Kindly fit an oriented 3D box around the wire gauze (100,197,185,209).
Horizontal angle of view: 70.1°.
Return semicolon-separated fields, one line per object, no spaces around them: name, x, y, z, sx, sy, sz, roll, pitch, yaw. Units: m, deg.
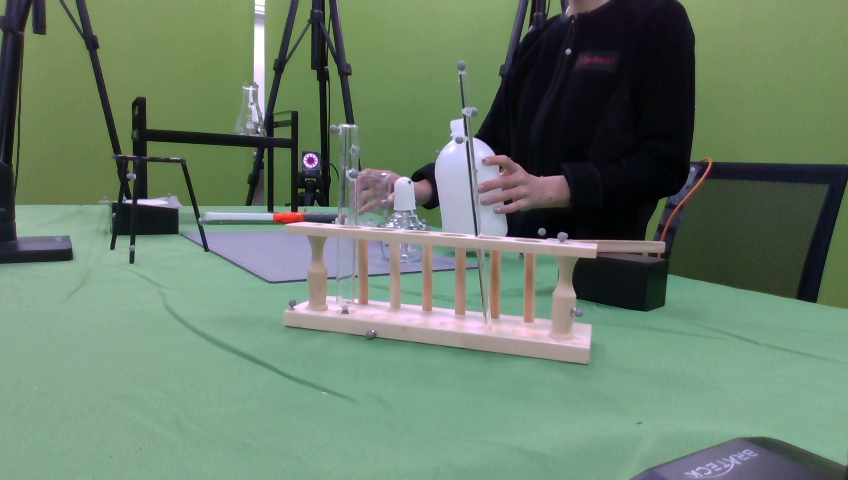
wire gauze;-0.469;-0.062;1.008;0.126;0.011;0.121;-2;8;-25

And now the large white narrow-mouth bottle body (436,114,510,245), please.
large white narrow-mouth bottle body;0.071;-0.096;0.934;0.102;0.194;0.102;-9;7;1

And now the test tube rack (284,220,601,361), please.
test tube rack;0.013;0.032;0.482;0.242;0.085;0.067;4;7;16

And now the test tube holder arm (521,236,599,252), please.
test tube holder arm;0.144;0.004;0.635;0.088;0.015;0.010;0;14;-19

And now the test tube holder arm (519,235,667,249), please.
test tube holder arm;0.186;0.003;0.655;0.179;0.015;0.013;0;14;-18

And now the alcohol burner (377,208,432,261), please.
alcohol burner;-0.027;-0.031;0.838;0.078;0.119;0.078;0;6;0

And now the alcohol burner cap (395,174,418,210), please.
alcohol burner cap;-0.026;-0.067;0.833;0.034;0.048;0.034;-1;12;1

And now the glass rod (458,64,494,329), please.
glass rod;0.039;-0.029;0.449;0.008;0.199;0.008;-7;9;1

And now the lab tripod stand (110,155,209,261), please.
lab tripod stand;-0.361;-0.046;0.806;0.148;0.131;0.148;2;5;0

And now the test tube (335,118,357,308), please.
test tube;-0.061;-0.019;0.476;0.017;0.150;0.017;2;11;0

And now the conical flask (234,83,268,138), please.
conical flask;-0.400;-0.298;1.396;0.075;0.122;0.075;2;8;0

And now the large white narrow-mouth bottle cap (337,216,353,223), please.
large white narrow-mouth bottle cap;-0.161;-0.036;1.231;0.038;0.024;0.037;2;8;0

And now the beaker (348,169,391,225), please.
beaker;-0.096;-0.072;1.073;0.074;0.100;0.083;-4;13;-37

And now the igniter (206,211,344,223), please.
igniter;-0.302;-0.048;1.249;0.278;0.025;0.057;-2;-2;-27
